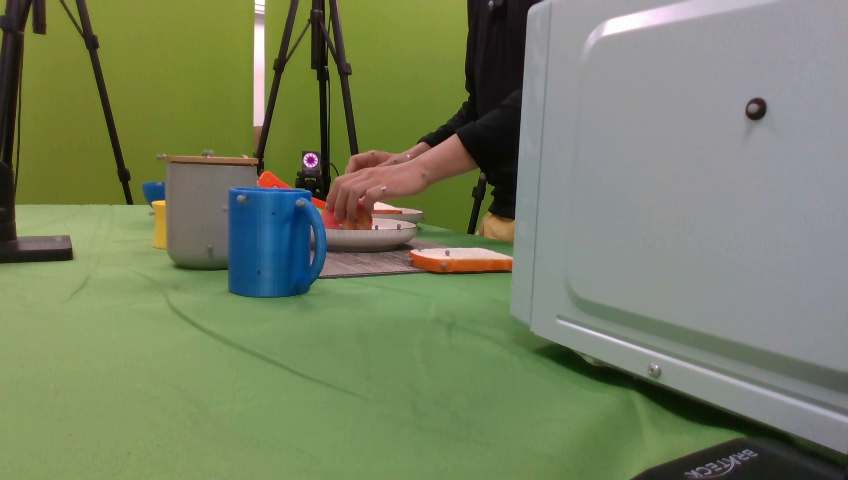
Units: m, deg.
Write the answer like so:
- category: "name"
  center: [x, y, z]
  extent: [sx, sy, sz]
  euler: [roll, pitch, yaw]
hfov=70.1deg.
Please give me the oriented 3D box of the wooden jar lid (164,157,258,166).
- category: "wooden jar lid"
  center: [-0.261, -0.093, 0.746]
  extent: [0.108, 0.020, 0.108]
  euler: [0, 9, 0]

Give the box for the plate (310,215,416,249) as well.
- category: "plate"
  center: [-0.117, -0.014, 0.967]
  extent: [0.208, 0.039, 0.207]
  euler: [2, 7, 0]

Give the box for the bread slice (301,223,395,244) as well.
- category: "bread slice"
  center: [-0.116, -0.013, 0.975]
  extent: [0.135, 0.018, 0.106]
  euler: [-7, 12, -42]

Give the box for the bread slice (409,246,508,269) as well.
- category: "bread slice"
  center: [0.048, 0.022, 0.816]
  extent: [0.132, 0.019, 0.104]
  euler: [0, 7, -24]

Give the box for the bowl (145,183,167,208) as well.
- category: "bowl"
  center: [-0.459, -0.069, 1.175]
  extent: [0.151, 0.077, 0.151]
  euler: [3, 7, 0]

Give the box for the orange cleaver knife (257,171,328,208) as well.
- category: "orange cleaver knife"
  center: [-0.283, -0.087, 1.343]
  extent: [0.212, 0.077, 0.012]
  euler: [24, -16, -41]

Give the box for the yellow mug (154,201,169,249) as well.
- category: "yellow mug"
  center: [-0.337, -0.022, 0.899]
  extent: [0.130, 0.064, 0.100]
  euler: [8, 9, 34]

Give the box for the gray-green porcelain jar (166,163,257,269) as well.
- category: "gray-green porcelain jar"
  center: [-0.263, -0.031, 0.754]
  extent: [0.106, 0.126, 0.106]
  euler: [2, 7, 0]

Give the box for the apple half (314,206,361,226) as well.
- category: "apple half"
  center: [-0.142, -0.041, 1.001]
  extent: [0.081, 0.033, 0.081]
  euler: [0, 7, 0]

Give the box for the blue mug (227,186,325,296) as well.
- category: "blue mug"
  center: [-0.147, 0.000, 0.618]
  extent: [0.116, 0.106, 0.083]
  euler: [7, 9, 32]

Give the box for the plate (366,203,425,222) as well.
- category: "plate"
  center: [-0.102, -0.053, 1.299]
  extent: [0.209, 0.038, 0.209]
  euler: [2, 8, 0]

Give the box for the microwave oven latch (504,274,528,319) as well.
- category: "microwave oven latch"
  center: [0.100, 0.041, 0.471]
  extent: [0.079, 0.029, 0.030]
  euler: [-1, 7, -28]

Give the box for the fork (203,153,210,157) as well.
- category: "fork"
  center: [-0.480, -0.135, 1.411]
  extent: [0.028, 0.018, 0.207]
  euler: [1, -34, -1]

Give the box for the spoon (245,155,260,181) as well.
- category: "spoon"
  center: [-0.421, -0.150, 1.540]
  extent: [0.042, 0.021, 0.193]
  euler: [-5, 55, -37]

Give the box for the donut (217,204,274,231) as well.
- category: "donut"
  center: [-0.318, -0.038, 1.080]
  extent: [0.099, 0.048, 0.099]
  euler: [3, 7, 0]

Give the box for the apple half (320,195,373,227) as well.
- category: "apple half"
  center: [-0.118, -0.043, 0.924]
  extent: [0.081, 0.053, 0.074]
  euler: [-2, 6, -23]

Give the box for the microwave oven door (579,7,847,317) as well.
- category: "microwave oven door"
  center: [0.294, -0.067, 0.570]
  extent: [0.358, 0.243, 0.039]
  euler: [-3, 9, -31]

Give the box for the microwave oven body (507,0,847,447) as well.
- category: "microwave oven body"
  center: [0.331, -0.042, 0.425]
  extent: [0.444, 0.260, 0.324]
  euler: [-2, 8, -31]
